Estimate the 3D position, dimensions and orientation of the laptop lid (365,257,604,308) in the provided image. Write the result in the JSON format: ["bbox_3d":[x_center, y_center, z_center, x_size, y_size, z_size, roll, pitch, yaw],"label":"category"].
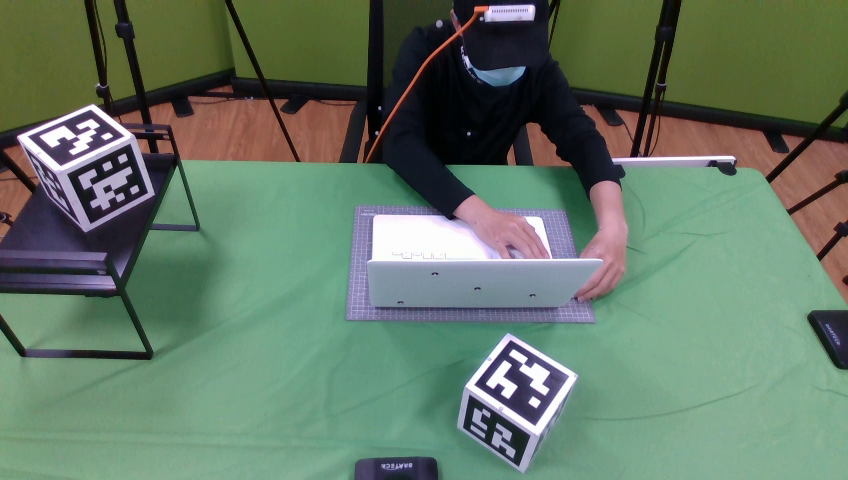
[{"bbox_3d":[0.085,0.073,0.978,0.357,0.242,0.013,1,67,-5],"label":"laptop lid"}]

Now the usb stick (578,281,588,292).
[{"bbox_3d":[0.270,0.082,1.119,0.059,0.027,0.021,-3,45,-3],"label":"usb stick"}]

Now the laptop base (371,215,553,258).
[{"bbox_3d":[0.075,0.037,1.167,0.355,0.023,0.234,0,43,-4],"label":"laptop base"}]
